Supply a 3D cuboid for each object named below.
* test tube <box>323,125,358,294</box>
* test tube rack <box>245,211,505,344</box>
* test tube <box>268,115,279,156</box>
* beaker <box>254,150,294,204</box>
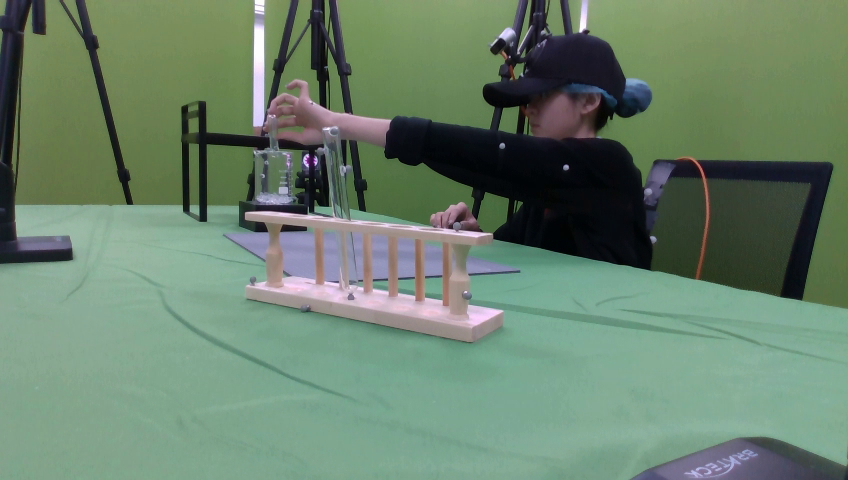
[{"bbox_3d":[-0.073,-0.026,0.533,0.017,0.150,0.017,-5,9,1],"label":"test tube"},{"bbox_3d":[-0.049,0.024,0.547,0.241,0.085,0.067,7,8,29],"label":"test tube rack"},{"bbox_3d":[-0.266,-0.183,1.071,0.017,0.017,0.150,1,-15,-13],"label":"test tube"},{"bbox_3d":[-0.289,-0.120,1.151,0.073,0.100,0.084,8,9,33],"label":"beaker"}]
